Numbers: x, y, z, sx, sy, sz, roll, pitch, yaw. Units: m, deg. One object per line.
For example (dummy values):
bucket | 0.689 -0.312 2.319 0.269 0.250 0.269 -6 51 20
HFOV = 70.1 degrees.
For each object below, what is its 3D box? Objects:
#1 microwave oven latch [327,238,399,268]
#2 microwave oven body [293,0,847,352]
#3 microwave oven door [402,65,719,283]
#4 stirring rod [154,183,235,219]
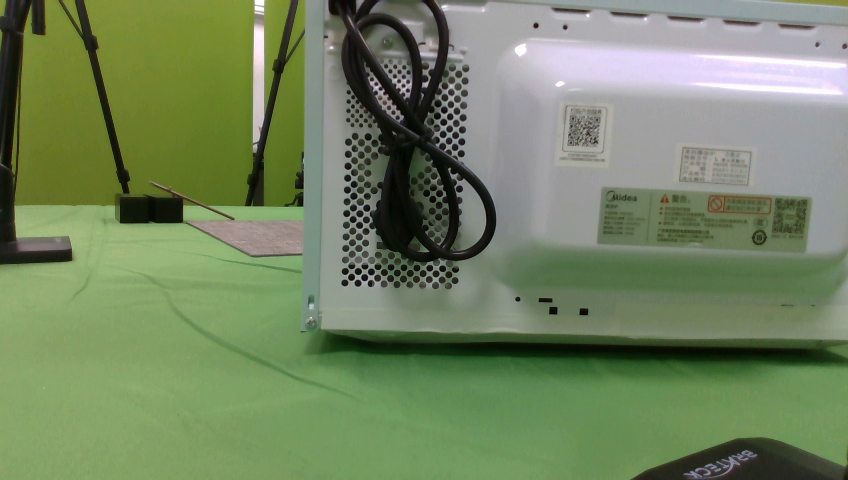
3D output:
microwave oven latch | -0.069 0.015 0.694 0.079 0.029 0.030 3 7 -3
microwave oven body | 0.122 -0.055 0.550 0.442 0.260 0.325 3 7 -5
microwave oven door | 0.155 -0.080 0.725 0.356 0.243 0.039 3 8 5
stirring rod | -0.472 -0.079 1.252 0.177 0.006 0.014 27 4 -35
